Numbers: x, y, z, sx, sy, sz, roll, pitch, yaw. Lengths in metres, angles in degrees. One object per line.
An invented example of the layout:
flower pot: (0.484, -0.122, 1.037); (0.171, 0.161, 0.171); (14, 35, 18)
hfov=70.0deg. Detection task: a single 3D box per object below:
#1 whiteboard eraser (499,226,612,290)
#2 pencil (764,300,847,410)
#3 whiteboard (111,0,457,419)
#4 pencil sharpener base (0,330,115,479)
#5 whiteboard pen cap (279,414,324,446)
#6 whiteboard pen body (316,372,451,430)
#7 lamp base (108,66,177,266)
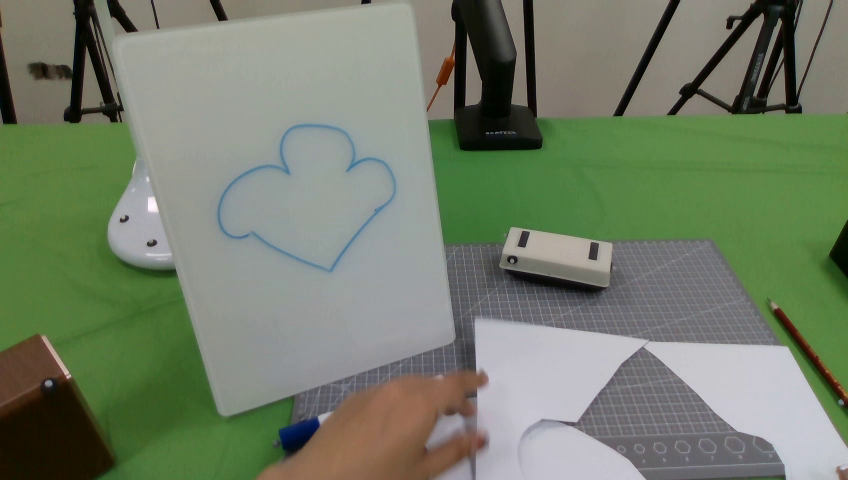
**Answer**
whiteboard eraser: (0.139, 0.019, 0.638); (0.112, 0.042, 0.055); (11, 40, 13)
pencil: (0.359, 0.118, 0.547); (0.012, 0.012, 0.192); (-3, 36, -4)
whiteboard: (-0.112, -0.037, 0.544); (0.218, 0.307, 0.142); (-14, 21, -17)
pencil sharpener base: (-0.285, 0.132, 0.437); (0.077, 0.108, 0.061); (-31, 48, -33)
whiteboard pen cap: (-0.097, 0.151, 0.482); (0.033, 0.018, 0.018); (-16, 41, -17)
whiteboard pen body: (-0.043, 0.136, 0.499); (0.141, 0.017, 0.017); (-14, 40, -17)
lamp base: (-0.288, -0.089, 0.661); (0.177, 0.182, 0.160); (25, 44, 32)
